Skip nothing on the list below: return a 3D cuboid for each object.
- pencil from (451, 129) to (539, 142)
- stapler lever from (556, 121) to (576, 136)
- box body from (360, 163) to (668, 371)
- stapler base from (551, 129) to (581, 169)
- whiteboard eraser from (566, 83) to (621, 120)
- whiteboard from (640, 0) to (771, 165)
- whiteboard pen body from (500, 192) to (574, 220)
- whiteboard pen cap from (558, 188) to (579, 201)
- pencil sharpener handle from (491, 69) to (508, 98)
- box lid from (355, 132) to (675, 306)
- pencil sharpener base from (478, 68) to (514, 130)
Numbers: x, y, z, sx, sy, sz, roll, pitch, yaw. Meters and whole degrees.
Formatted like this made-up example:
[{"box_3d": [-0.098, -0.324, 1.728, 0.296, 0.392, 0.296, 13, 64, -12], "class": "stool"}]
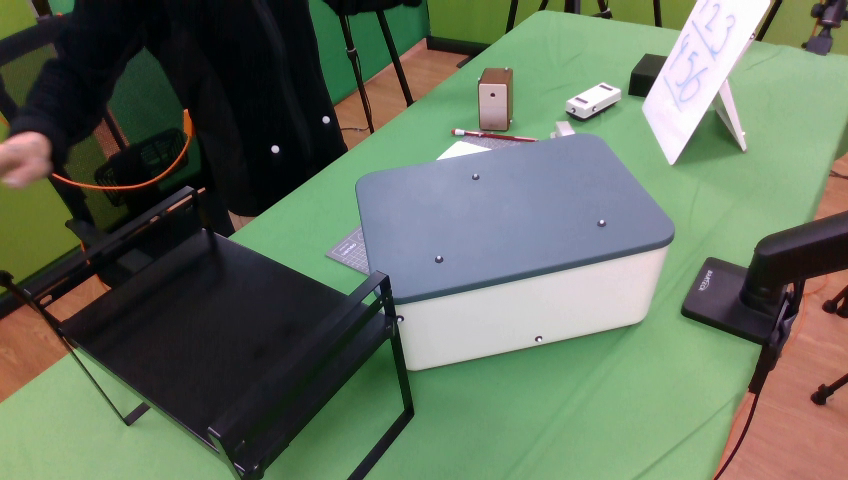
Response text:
[{"box_3d": [0.146, -0.207, 1.205, 0.193, 0.012, 0.012, 10, 43, 19], "class": "pencil"}, {"box_3d": [0.266, -0.198, 1.128, 0.027, 0.040, 0.117, 0, 38, 3], "class": "stapler lever"}, {"box_3d": [0.108, 0.014, 0.833, 0.365, 0.161, 0.252, -11, 41, -5], "class": "box body"}, {"box_3d": [0.268, -0.178, 1.142, 0.041, 0.024, 0.130, 1, 37, 3], "class": "stapler base"}, {"box_3d": [0.348, -0.283, 1.242, 0.113, 0.042, 0.055, -30, 43, -24], "class": "whiteboard eraser"}, {"box_3d": [0.543, -0.299, 1.076, 0.144, 0.305, 0.216, 12, 40, -7], "class": "whiteboard"}, {"box_3d": [0.191, -0.059, 1.011, 0.141, 0.017, 0.017, -18, 41, -16], "class": "whiteboard pen body"}, {"box_3d": [0.245, -0.077, 1.028, 0.033, 0.018, 0.018, -18, 42, -15], "class": "whiteboard pen cap"}, {"box_3d": [0.155, -0.329, 1.254, 0.036, 0.068, 0.030, 17, 43, 3], "class": "pencil sharpener handle"}, {"box_3d": [0.103, -0.042, 0.785, 0.372, 0.015, 0.261, -12, 41, -5], "class": "box lid"}, {"box_3d": [0.148, -0.286, 1.224, 0.061, 0.107, 0.076, 5, 41, 15], "class": "pencil sharpener base"}]
